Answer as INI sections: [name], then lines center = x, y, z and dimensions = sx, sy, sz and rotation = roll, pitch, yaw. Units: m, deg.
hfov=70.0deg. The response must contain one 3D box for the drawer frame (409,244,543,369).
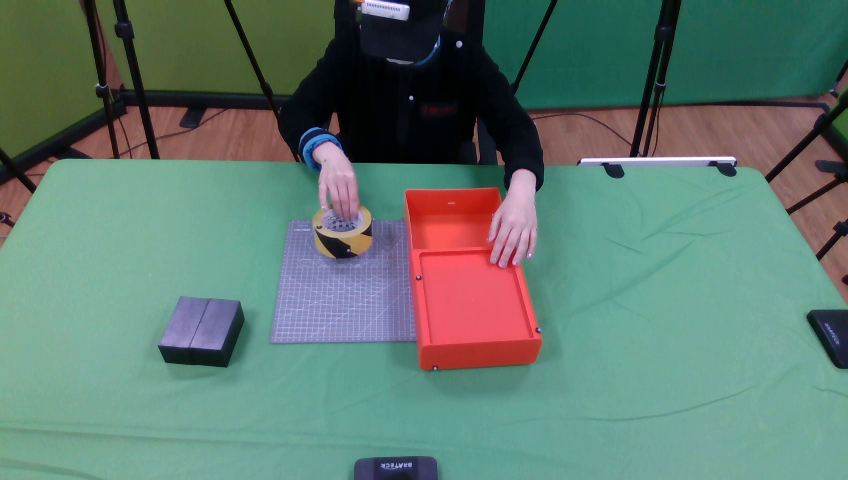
[drawer frame]
center = 0.082, 0.110, 1.051
dimensions = 0.202, 0.083, 0.212
rotation = -2, 47, -7

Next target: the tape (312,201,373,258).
[tape]
center = -0.156, -0.021, 1.148
dimensions = 0.117, 0.053, 0.116
rotation = 2, 40, -1

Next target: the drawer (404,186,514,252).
[drawer]
center = 0.066, -0.010, 1.171
dimensions = 0.195, 0.073, 0.210
rotation = -1, 45, -6
